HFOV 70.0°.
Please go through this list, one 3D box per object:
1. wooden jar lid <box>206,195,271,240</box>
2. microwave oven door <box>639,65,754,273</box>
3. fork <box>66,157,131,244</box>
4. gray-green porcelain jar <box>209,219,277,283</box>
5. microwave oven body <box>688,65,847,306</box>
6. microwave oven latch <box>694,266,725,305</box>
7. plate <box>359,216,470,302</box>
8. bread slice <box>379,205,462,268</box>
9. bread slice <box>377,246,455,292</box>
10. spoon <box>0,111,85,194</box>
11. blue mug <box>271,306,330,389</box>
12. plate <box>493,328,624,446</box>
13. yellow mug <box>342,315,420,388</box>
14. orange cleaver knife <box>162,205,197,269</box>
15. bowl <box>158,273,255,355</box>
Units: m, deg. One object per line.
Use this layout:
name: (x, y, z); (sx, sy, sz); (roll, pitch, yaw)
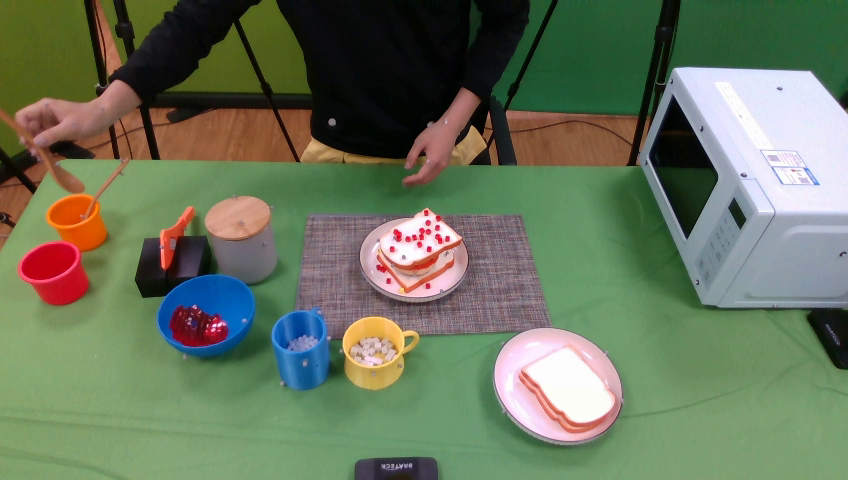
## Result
wooden jar lid: (-0.319, -0.036, 1.046); (0.108, 0.021, 0.107); (1, 44, 0)
microwave oven door: (0.522, -0.147, 1.193); (0.039, 0.245, 0.353); (0, 47, -3)
fork: (-0.608, -0.074, 1.132); (0.207, 0.019, 0.028); (-52, 48, 10)
gray-green porcelain jar: (-0.323, 0.007, 1.092); (0.106, 0.127, 0.105); (2, 46, -2)
microwave oven body: (0.669, -0.111, 1.176); (0.326, 0.261, 0.439); (0, 46, -3)
microwave oven latch: (0.523, 0.082, 1.115); (0.030, 0.029, 0.078); (3, 46, 0)
plate: (-0.019, 0.038, 1.140); (0.209, 0.038, 0.208); (2, 46, -2)
bread slice: (-0.012, -0.001, 1.097); (0.134, 0.018, 0.106); (-33, 51, -23)
bread slice: (-0.010, 0.034, 1.150); (0.131, 0.019, 0.104); (-29, 56, -23)
spoon: (-0.590, -0.141, 0.916); (0.021, 0.195, 0.041); (-21, 42, 7)
blue mug: (-0.188, 0.163, 0.969); (0.082, 0.106, 0.116); (15, 47, 10)
plate: (0.213, 0.236, 0.974); (0.208, 0.039, 0.206); (2, 46, -2)
yellow mug: (-0.068, 0.177, 0.990); (0.131, 0.064, 0.099); (-15, 50, -19)
orange cleaver knife: (-0.454, -0.010, 1.129); (0.012, 0.077, 0.210); (1, 20, -6)
bowl: (-0.351, 0.136, 1.001); (0.151, 0.077, 0.150); (2, 46, -2)
